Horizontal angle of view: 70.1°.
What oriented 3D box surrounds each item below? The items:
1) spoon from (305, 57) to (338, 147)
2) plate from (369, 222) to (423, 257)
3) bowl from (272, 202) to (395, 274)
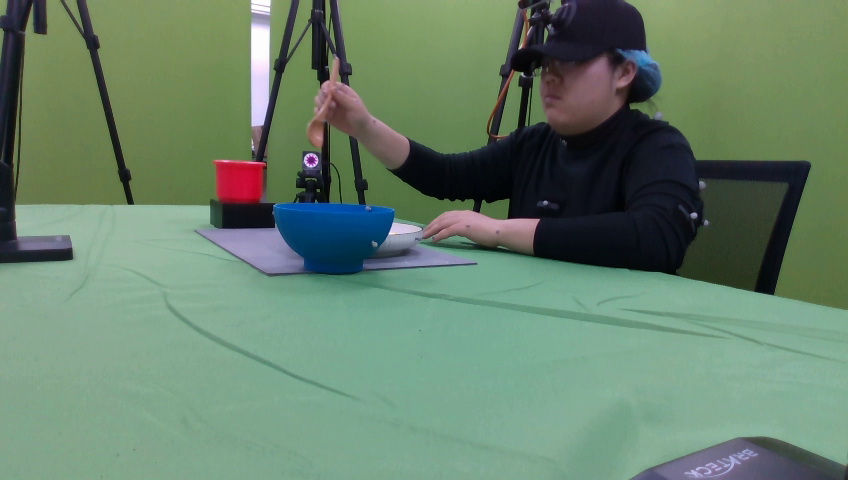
[{"bbox_3d":[-0.182,-0.256,1.109,0.021,0.193,0.042,0,-24,35],"label":"spoon"},{"bbox_3d":[-0.105,-0.004,0.922,0.208,0.039,0.207,3,7,0],"label":"plate"},{"bbox_3d":[-0.112,-0.003,0.751,0.151,0.077,0.151,3,7,0],"label":"bowl"}]
